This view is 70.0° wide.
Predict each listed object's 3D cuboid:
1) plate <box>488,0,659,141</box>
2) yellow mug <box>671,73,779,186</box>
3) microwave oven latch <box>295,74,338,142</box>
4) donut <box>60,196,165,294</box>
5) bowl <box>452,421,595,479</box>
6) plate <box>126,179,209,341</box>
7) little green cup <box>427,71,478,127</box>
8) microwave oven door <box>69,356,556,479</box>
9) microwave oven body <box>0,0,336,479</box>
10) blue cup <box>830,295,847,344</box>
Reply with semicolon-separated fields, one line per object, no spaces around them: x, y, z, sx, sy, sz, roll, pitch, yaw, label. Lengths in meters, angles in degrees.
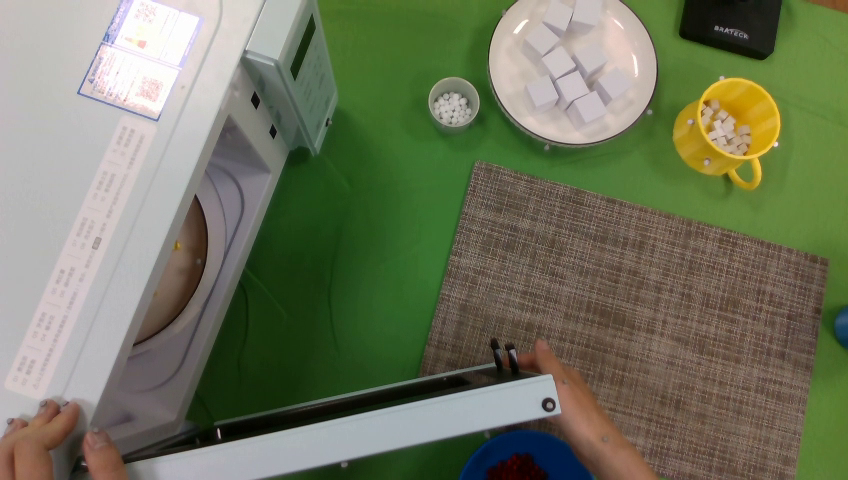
0.180;-0.218;0.744;0.208;0.039;0.207;1;81;-3;plate
0.365;-0.127;0.726;0.100;0.064;0.130;-21;84;-6;yellow mug
-0.125;-0.156;0.698;0.030;0.029;0.079;23;82;0;microwave oven latch
-0.309;0.004;0.606;0.099;0.048;0.099;0;86;-3;donut
0.098;0.265;0.645;0.151;0.077;0.151;1;82;-4;bowl
-0.323;0.002;0.615;0.209;0.038;0.208;1;84;-6;plate
0.033;-0.165;0.726;0.061;0.038;0.061;1;82;-4;little green cup
-0.080;0.161;0.552;0.356;0.244;0.039;-11;81;-5;microwave oven door
-0.316;-0.052;0.575;0.326;0.260;0.440;19;82;-1;microwave oven body
0.522;0.089;0.685;0.093;0.100;0.092;1;80;-4;blue cup
